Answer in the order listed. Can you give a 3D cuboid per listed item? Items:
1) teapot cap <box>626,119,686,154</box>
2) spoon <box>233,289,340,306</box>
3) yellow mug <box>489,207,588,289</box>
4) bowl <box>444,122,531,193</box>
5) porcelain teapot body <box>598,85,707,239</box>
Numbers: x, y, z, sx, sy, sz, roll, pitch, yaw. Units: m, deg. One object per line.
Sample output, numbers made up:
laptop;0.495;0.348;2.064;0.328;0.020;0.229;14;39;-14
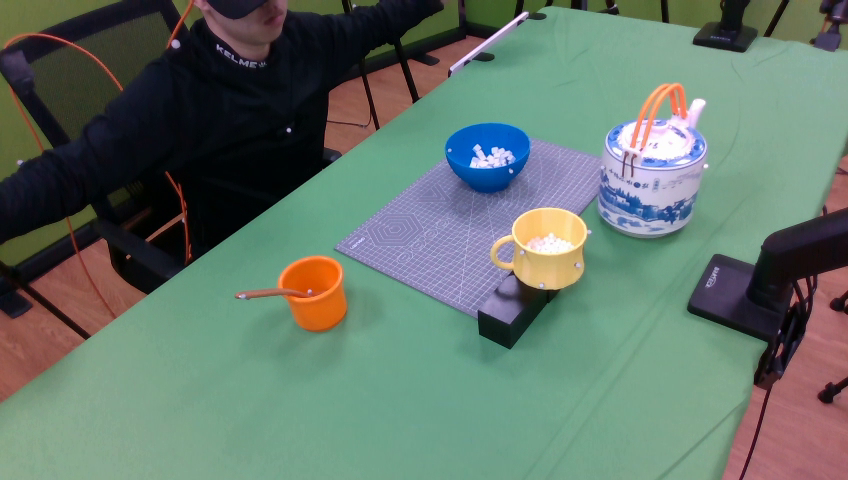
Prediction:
teapot cap;0.338;-0.153;0.882;0.085;0.044;0.085;-3;38;3
spoon;-0.181;0.075;0.811;0.041;0.195;0.021;18;91;31
yellow mug;0.154;0.013;0.820;0.131;0.064;0.099;-8;40;0
bowl;0.113;-0.136;1.063;0.151;0.077;0.150;-4;41;4
porcelain teapot body;0.363;-0.137;0.921;0.144;0.226;0.206;28;51;36
